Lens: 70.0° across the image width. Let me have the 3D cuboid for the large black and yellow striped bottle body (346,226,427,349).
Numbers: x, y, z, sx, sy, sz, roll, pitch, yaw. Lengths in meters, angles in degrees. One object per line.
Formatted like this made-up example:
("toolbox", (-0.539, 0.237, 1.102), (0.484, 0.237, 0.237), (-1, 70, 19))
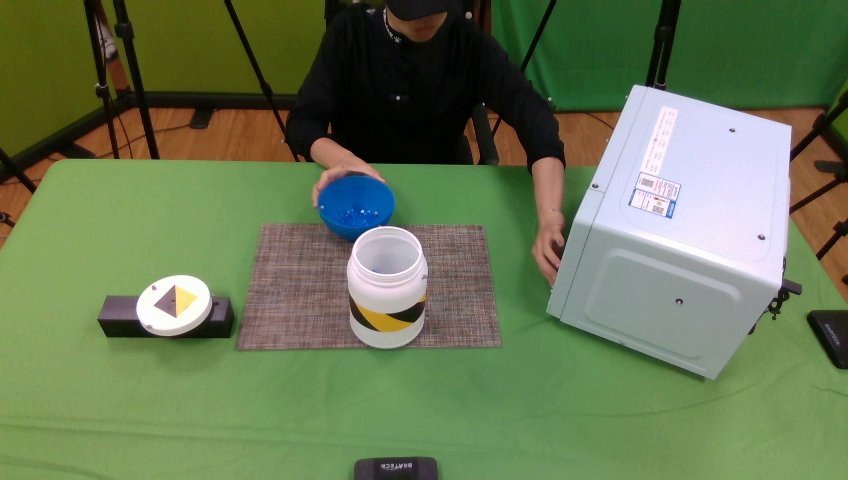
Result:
("large black and yellow striped bottle body", (-0.062, 0.079, 0.998), (0.131, 0.185, 0.130), (2, 46, -2))

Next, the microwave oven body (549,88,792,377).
("microwave oven body", (0.456, -0.028, 1.088), (0.325, 0.261, 0.440), (20, 47, 16))

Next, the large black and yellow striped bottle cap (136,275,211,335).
("large black and yellow striped bottle cap", (-0.411, 0.105, 0.999), (0.115, 0.019, 0.114), (3, 46, -3))

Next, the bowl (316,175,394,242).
("bowl", (-0.134, -0.050, 1.191), (0.151, 0.077, 0.150), (2, 46, -2))

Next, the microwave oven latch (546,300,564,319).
("microwave oven latch", (0.242, 0.102, 1.080), (0.030, 0.029, 0.079), (22, 48, 18))

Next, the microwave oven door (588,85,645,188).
("microwave oven door", (0.342, -0.107, 1.149), (0.039, 0.245, 0.354), (20, 48, 15))
